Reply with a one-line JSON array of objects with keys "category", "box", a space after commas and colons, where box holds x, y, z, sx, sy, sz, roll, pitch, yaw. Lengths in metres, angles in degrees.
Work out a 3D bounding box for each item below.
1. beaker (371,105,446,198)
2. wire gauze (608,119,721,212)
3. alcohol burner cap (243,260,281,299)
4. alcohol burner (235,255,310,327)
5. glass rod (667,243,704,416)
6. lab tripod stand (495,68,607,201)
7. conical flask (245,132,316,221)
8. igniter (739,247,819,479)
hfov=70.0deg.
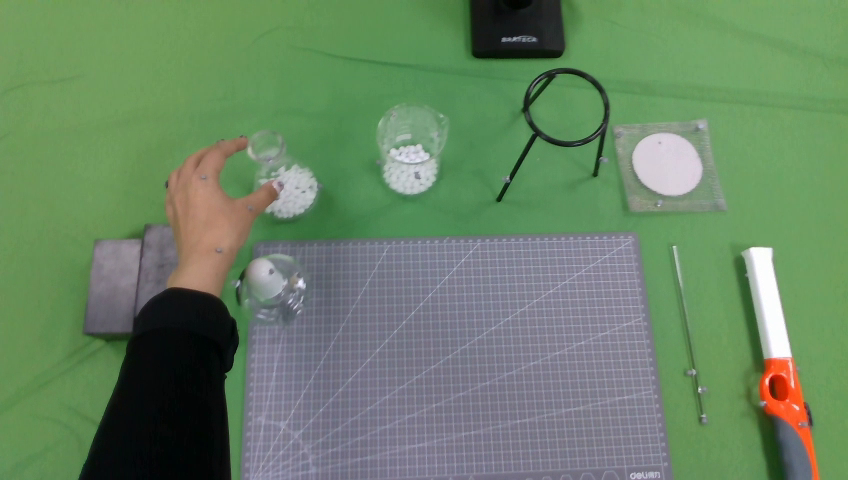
[{"category": "beaker", "box": [-0.017, -0.097, 0.687, 0.084, 0.101, 0.073, -26, 75, -11]}, {"category": "wire gauze", "box": [0.298, -0.091, 0.748, 0.125, 0.011, 0.120, -3, 73, -5]}, {"category": "alcohol burner cap", "box": [-0.160, 0.036, 0.591, 0.034, 0.048, 0.033, 1, 67, -3]}, {"category": "alcohol burner", "box": [-0.160, 0.048, 0.624, 0.078, 0.120, 0.077, 0, 73, 0]}, {"category": "glass rod", "box": [0.298, 0.098, 0.690, 0.008, 0.008, 0.198, -3, 73, -4]}, {"category": "lab tripod stand", "box": [0.140, -0.115, 0.682, 0.148, 0.132, 0.147, 1, 75, -2]}, {"category": "conical flask", "box": [-0.163, -0.073, 0.660, 0.075, 0.122, 0.075, 1, 72, -2]}, {"category": "igniter", "box": [0.392, 0.141, 0.671, 0.057, 0.025, 0.275, 2, 73, -13]}]
